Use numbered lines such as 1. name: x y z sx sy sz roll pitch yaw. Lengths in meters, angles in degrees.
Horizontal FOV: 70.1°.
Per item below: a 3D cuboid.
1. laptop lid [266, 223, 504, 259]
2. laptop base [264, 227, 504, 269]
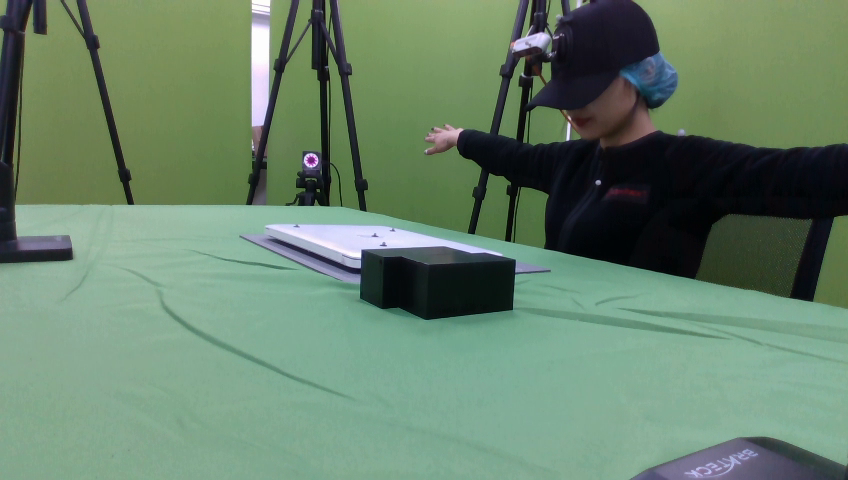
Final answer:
1. laptop lid: -0.074 -0.003 0.914 0.243 0.013 0.355 1 7 -31
2. laptop base: -0.077 0.009 0.914 0.237 0.023 0.352 2 6 -33
